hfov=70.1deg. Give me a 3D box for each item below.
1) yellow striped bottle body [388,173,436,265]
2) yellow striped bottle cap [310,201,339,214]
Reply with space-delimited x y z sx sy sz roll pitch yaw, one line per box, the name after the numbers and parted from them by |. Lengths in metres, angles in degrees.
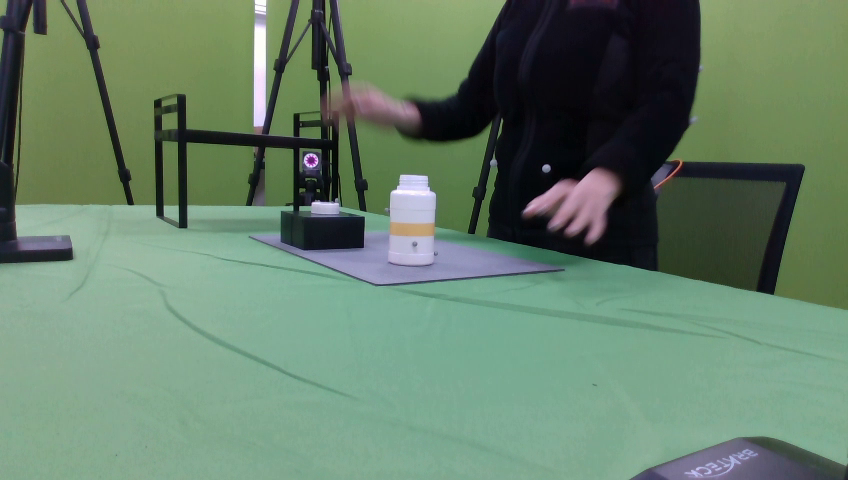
-0.016 -0.030 0.813 0.063 0.120 0.063 2 7 0 | yellow striped bottle body
-0.157 -0.051 0.956 0.044 0.018 0.044 4 6 0 | yellow striped bottle cap
